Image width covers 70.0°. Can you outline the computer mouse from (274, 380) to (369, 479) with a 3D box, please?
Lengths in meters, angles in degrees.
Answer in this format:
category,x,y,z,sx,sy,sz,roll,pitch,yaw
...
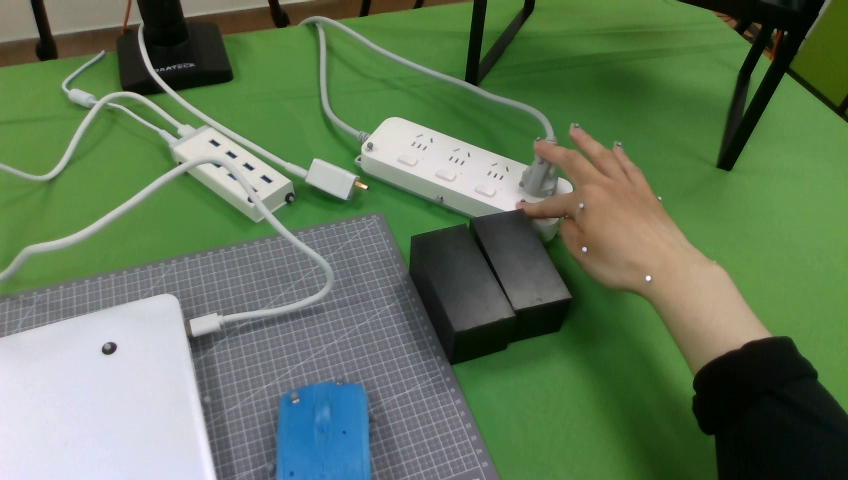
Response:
category,x,y,z,sx,sy,sz,roll,pitch,yaw
computer mouse,-0.068,0.145,0.409,0.063,0.041,0.116,-5,46,-6

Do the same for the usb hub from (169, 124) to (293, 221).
category,x,y,z,sx,sy,sz,roll,pitch,yaw
usb hub,-0.189,-0.068,0.592,0.124,0.025,0.049,33,55,22

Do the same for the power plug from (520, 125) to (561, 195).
category,x,y,z,sx,sy,sz,roll,pitch,yaw
power plug,0.121,-0.069,0.584,0.035,0.053,0.072,33,56,23

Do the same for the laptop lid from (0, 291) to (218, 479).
category,x,y,z,sx,sy,sz,roll,pitch,yaw
laptop lid,-0.314,0.170,0.369,0.357,0.013,0.239,-15,55,-16

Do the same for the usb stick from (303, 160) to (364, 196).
category,x,y,z,sx,sy,sz,roll,pitch,yaw
usb stick,-0.086,-0.058,0.589,0.059,0.021,0.027,16,94,-10

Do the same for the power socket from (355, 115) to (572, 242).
category,x,y,z,sx,sy,sz,roll,pitch,yaw
power socket,0.039,-0.064,0.601,0.225,0.033,0.072,23,52,15

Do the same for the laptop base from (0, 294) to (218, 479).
category,x,y,z,sx,sy,sz,roll,pitch,yaw
laptop base,-0.316,0.176,0.380,0.355,0.023,0.233,-16,56,-17
